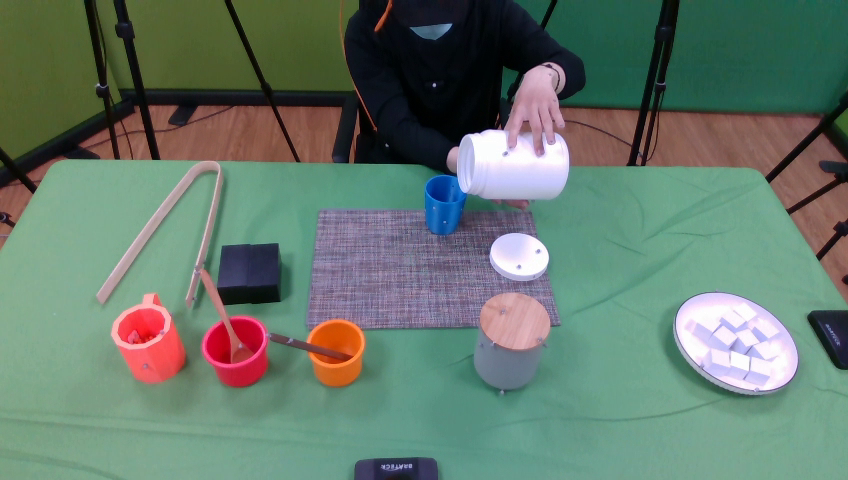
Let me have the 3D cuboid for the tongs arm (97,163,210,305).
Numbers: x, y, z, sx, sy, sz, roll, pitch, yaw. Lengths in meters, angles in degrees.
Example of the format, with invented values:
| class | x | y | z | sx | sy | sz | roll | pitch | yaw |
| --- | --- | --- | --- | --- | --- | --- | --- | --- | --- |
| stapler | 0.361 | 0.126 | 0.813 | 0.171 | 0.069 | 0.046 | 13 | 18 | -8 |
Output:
| class | x | y | z | sx | sy | sz | roll | pitch | yaw |
| --- | --- | --- | --- | --- | --- | --- | --- | --- | --- |
| tongs arm | -0.520 | -0.027 | 1.183 | 0.028 | 0.028 | 0.385 | 5 | 45 | 12 |

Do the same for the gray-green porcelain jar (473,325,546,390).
| class | x | y | z | sx | sy | sz | roll | pitch | yaw |
| --- | --- | --- | --- | --- | --- | --- | --- | --- | --- |
| gray-green porcelain jar | 0.135 | 0.170 | 0.969 | 0.106 | 0.127 | 0.105 | 2 | 46 | -2 |

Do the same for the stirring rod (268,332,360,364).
| class | x | y | z | sx | sy | sz | roll | pitch | yaw |
| --- | --- | --- | --- | --- | --- | --- | --- | --- | --- |
| stirring rod | -0.167 | 0.169 | 0.942 | 0.177 | 0.006 | 0.014 | 26 | 26 | -41 |

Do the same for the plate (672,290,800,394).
| class | x | y | z | sx | sy | sz | roll | pitch | yaw |
| --- | --- | --- | --- | --- | --- | --- | --- | --- | --- |
| plate | 0.533 | 0.178 | 1.050 | 0.208 | 0.039 | 0.206 | 2 | 46 | -2 |

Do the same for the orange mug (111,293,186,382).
| class | x | y | z | sx | sy | sz | roll | pitch | yaw |
| --- | --- | --- | --- | --- | --- | --- | --- | --- | --- |
| orange mug | -0.435 | 0.149 | 0.969 | 0.083 | 0.101 | 0.125 | -5 | 51 | -8 |

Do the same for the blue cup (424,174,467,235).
| class | x | y | z | sx | sy | sz | roll | pitch | yaw |
| --- | --- | --- | --- | --- | --- | --- | --- | --- | --- |
| blue cup | 0.039 | -0.065 | 1.201 | 0.093 | 0.101 | 0.092 | 3 | 47 | -3 |

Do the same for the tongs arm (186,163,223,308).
| class | x | y | z | sx | sy | sz | roll | pitch | yaw |
| --- | --- | --- | --- | --- | --- | --- | --- | --- | --- |
| tongs arm | -0.436 | -0.024 | 1.181 | 0.051 | 0.027 | 0.382 | -3 | 45 | 0 |

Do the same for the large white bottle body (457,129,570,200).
| class | x | y | z | sx | sy | sz | roll | pitch | yaw |
| --- | --- | --- | --- | --- | --- | --- | --- | --- | --- |
| large white bottle body | 0.164 | -0.141 | 1.140 | 0.185 | 0.131 | 0.129 | 0 | 46 | -15 |

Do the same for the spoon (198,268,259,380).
| class | x | y | z | sx | sy | sz | roll | pitch | yaw |
| --- | --- | --- | --- | --- | --- | --- | --- | --- | --- |
| spoon | -0.313 | 0.133 | 0.962 | 0.041 | 0.021 | 0.194 | -24 | 96 | -21 |

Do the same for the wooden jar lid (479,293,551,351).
| class | x | y | z | sx | sy | sz | roll | pitch | yaw |
| --- | --- | --- | --- | --- | --- | --- | --- | --- | --- |
| wooden jar lid | 0.138 | 0.127 | 0.925 | 0.108 | 0.021 | 0.107 | 1 | 47 | -1 |

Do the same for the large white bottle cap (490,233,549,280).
| class | x | y | z | sx | sy | sz | roll | pitch | yaw |
| --- | --- | --- | --- | --- | --- | --- | --- | --- | --- |
| large white bottle cap | 0.186 | 0.031 | 1.177 | 0.115 | 0.018 | 0.114 | 2 | 46 | -2 |
